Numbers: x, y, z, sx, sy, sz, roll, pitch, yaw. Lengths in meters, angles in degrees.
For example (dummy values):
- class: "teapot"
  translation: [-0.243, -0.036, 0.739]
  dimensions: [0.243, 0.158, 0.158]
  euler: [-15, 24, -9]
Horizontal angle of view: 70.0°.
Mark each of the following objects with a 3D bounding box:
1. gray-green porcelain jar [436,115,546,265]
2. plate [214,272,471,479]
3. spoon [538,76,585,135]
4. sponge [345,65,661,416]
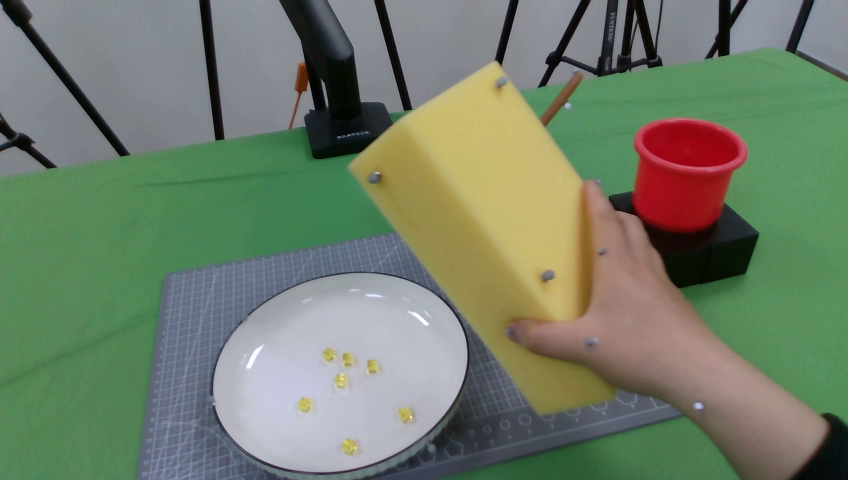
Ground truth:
- class: "gray-green porcelain jar"
  translation: [0.067, -0.047, 0.616]
  dimensions: [0.106, 0.127, 0.105]
  euler: [-3, 39, 2]
- class: "plate"
  translation: [-0.064, 0.108, 0.505]
  dimensions: [0.207, 0.039, 0.205]
  euler: [-2, 39, 2]
- class: "spoon"
  translation: [0.096, -0.075, 0.590]
  dimensions: [0.022, 0.194, 0.041]
  euler: [22, 32, -13]
- class: "sponge"
  translation: [0.061, -0.002, 0.404]
  dimensions: [0.207, 0.061, 0.118]
  euler: [51, 45, -7]
